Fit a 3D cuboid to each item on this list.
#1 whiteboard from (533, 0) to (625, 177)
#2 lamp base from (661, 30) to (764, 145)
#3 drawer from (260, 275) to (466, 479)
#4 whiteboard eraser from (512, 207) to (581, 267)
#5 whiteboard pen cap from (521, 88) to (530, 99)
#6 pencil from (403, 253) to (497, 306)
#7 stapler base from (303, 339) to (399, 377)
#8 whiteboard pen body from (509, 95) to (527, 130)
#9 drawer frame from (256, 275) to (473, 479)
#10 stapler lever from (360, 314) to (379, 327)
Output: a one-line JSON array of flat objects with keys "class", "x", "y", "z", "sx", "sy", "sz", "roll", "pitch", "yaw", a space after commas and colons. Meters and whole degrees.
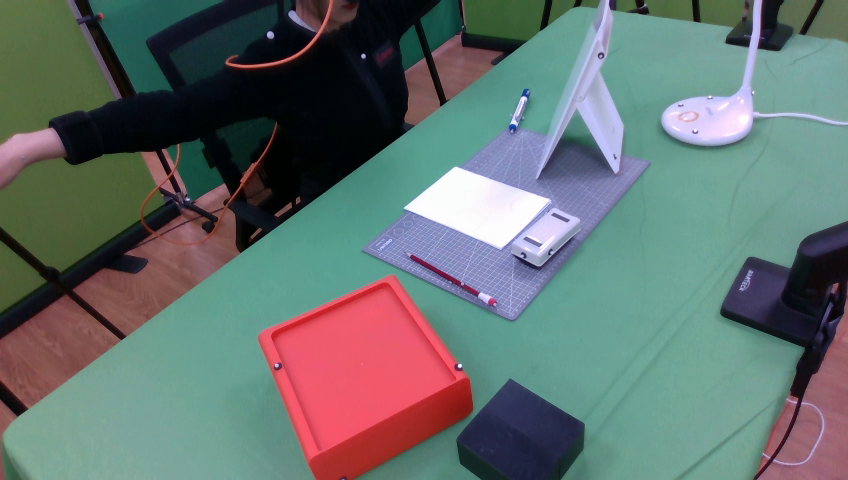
[{"class": "whiteboard", "x": 0.321, "y": -0.258, "z": 1.049, "sx": 0.144, "sy": 0.306, "sz": 0.217, "roll": 20, "pitch": 45, "yaw": 4}, {"class": "lamp base", "x": 0.535, "y": -0.287, "z": 1.096, "sx": 0.179, "sy": 0.181, "sz": 0.159, "roll": -10, "pitch": 40, "yaw": -4}, {"class": "drawer", "x": -0.080, "y": 0.163, "z": 0.760, "sx": 0.195, "sy": 0.073, "sz": 0.210, "roll": -22, "pitch": 42, "yaw": -16}, {"class": "whiteboard eraser", "x": 0.189, "y": -0.003, "z": 0.930, "sx": 0.055, "sy": 0.042, "sz": 0.113, "roll": 27, "pitch": 52, "yaw": 36}, {"class": "whiteboard pen cap", "x": 0.218, "y": -0.313, "z": 1.301, "sx": 0.018, "sy": 0.018, "sz": 0.033, "roll": 6, "pitch": 46, "yaw": 18}, {"class": "pencil", "x": 0.034, "y": 0.056, "z": 0.914, "sx": 0.192, "sy": 0.012, "sz": 0.012, "roll": 27, "pitch": 52, "yaw": 38}, {"class": "stapler base", "x": -0.099, "y": 0.150, "z": 0.806, "sx": 0.130, "sy": 0.024, "sz": 0.041, "roll": -12, "pitch": 25, "yaw": 1}, {"class": "whiteboard pen body", "x": 0.199, "y": -0.273, "z": 1.261, "sx": 0.017, "sy": 0.017, "sz": 0.140, "roll": 7, "pitch": 44, "yaw": 19}, {"class": "drawer frame", "x": -0.078, "y": 0.164, "z": 0.756, "sx": 0.202, "sy": 0.083, "sz": 0.211, "roll": -23, "pitch": 43, "yaw": -17}, {"class": "stapler lever", "x": -0.106, "y": 0.127, "z": 0.792, "sx": 0.118, "sy": 0.040, "sz": 0.026, "roll": -14, "pitch": 26, "yaw": 2}]
